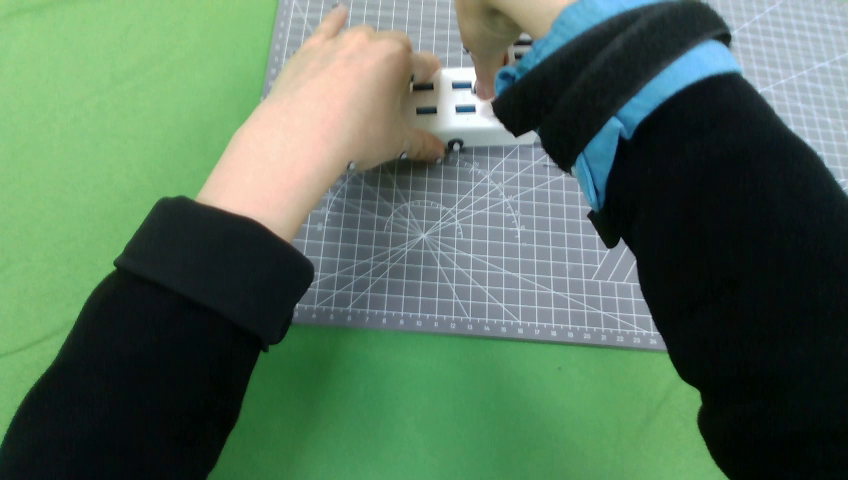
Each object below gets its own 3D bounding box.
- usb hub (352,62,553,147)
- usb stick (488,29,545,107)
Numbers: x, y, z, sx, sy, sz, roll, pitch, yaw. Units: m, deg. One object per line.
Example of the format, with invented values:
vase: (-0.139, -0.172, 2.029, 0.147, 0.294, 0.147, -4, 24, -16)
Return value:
usb hub: (0.017, -0.089, 0.393, 0.125, 0.025, 0.049, -3, 68, -8)
usb stick: (0.053, -0.098, 0.365, 0.021, 0.059, 0.027, -3, 70, -8)
